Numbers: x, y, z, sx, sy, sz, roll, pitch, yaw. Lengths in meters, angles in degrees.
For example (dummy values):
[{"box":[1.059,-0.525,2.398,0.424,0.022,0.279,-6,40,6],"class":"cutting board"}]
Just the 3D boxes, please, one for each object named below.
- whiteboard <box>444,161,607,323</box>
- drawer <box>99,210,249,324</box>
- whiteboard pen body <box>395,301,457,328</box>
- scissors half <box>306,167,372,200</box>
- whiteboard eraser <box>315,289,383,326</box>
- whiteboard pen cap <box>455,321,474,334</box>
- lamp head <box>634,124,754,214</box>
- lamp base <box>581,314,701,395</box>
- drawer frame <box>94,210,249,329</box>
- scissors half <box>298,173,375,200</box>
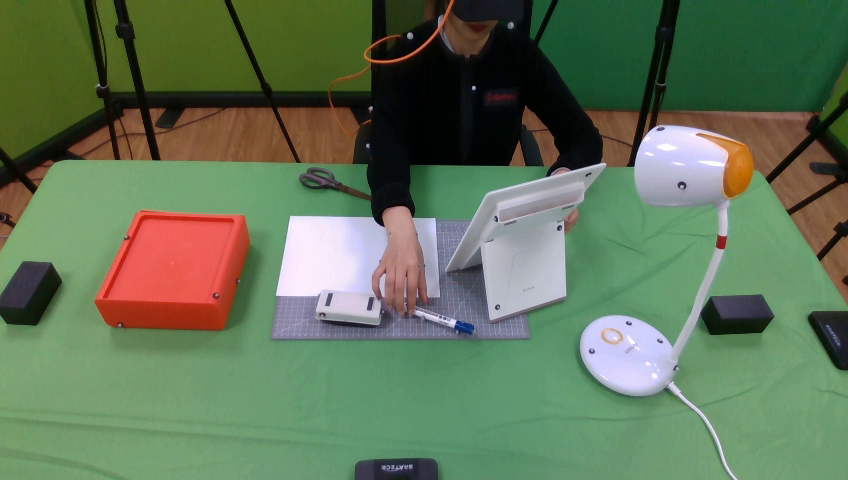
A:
[{"box":[0.186,0.025,1.029,0.217,0.306,0.143,-14,68,-18],"class":"whiteboard"},{"box":[-0.435,0.044,1.081,0.194,0.073,0.210,3,47,-2],"class":"drawer"},{"box":[0.015,0.134,1.064,0.140,0.017,0.017,17,47,16],"class":"whiteboard pen body"},{"box":[-0.180,-0.120,1.311,0.174,0.013,0.040,27,39,18],"class":"scissors half"},{"box":[-0.130,0.119,1.054,0.113,0.042,0.055,6,47,1],"class":"whiteboard eraser"},{"box":[0.069,0.151,1.046,0.033,0.018,0.018,14,47,16],"class":"whiteboard pen cap"},{"box":[0.351,-0.089,0.776,0.112,0.113,0.122,-30,30,-28],"class":"lamp head"},{"box":[0.361,0.144,0.973,0.178,0.181,0.160,34,53,23],"class":"lamp base"},{"box":[-0.435,0.048,1.076,0.202,0.083,0.212,2,47,-3],"class":"drawer frame"},{"box":[-0.188,-0.110,1.296,0.175,0.013,0.040,15,42,5],"class":"scissors half"}]
